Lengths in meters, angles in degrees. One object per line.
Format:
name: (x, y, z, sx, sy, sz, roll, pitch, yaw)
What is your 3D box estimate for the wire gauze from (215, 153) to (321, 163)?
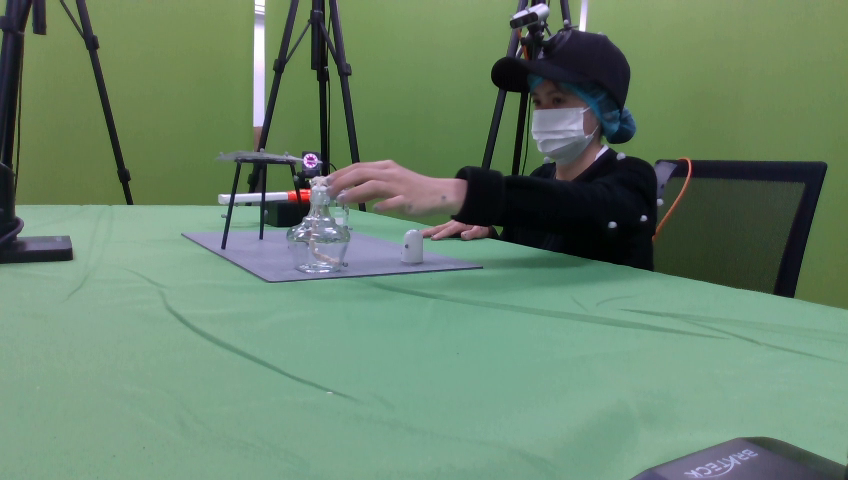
wire gauze: (-0.235, -0.123, 0.906, 0.126, 0.011, 0.121, -2, 7, -33)

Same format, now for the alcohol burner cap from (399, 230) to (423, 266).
alcohol burner cap: (-0.017, 0.010, 0.837, 0.034, 0.048, 0.034, 3, 6, 0)

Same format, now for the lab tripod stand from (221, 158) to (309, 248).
lab tripod stand: (-0.244, -0.057, 0.917, 0.148, 0.131, 0.148, 1, 7, 0)

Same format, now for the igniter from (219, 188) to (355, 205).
igniter: (-0.274, -0.089, 1.237, 0.278, 0.025, 0.057, -6, 11, -30)

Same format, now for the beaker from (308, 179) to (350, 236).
beaker: (-0.176, -0.060, 1.104, 0.073, 0.100, 0.084, 8, 10, 39)

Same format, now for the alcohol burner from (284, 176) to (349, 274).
alcohol burner: (-0.130, -0.019, 0.738, 0.078, 0.119, 0.078, 4, 5, 0)
